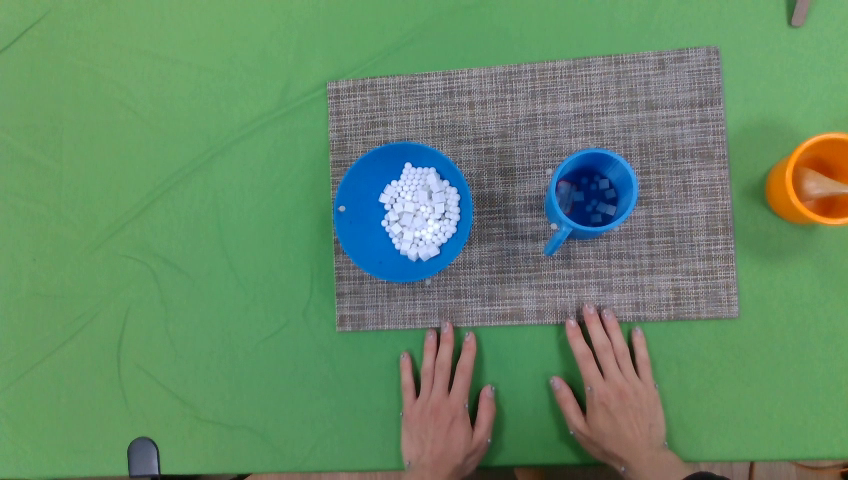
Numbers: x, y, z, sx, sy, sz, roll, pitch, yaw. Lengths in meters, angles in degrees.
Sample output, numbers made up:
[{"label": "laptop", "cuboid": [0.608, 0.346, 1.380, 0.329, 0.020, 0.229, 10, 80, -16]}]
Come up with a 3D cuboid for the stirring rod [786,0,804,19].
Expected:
[{"label": "stirring rod", "cuboid": [0.410, -0.326, 0.634, 0.014, 0.006, 0.177, 5, 110, 2]}]

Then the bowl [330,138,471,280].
[{"label": "bowl", "cuboid": [-0.020, -0.031, 0.670, 0.151, 0.077, 0.151, 0, 88, 7]}]

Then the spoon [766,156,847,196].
[{"label": "spoon", "cuboid": [0.425, -0.055, 0.577, 0.192, 0.022, 0.041, 14, 95, 48]}]

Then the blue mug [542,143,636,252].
[{"label": "blue mug", "cuboid": [0.159, -0.036, 0.633, 0.082, 0.106, 0.116, 35, 92, 8]}]
